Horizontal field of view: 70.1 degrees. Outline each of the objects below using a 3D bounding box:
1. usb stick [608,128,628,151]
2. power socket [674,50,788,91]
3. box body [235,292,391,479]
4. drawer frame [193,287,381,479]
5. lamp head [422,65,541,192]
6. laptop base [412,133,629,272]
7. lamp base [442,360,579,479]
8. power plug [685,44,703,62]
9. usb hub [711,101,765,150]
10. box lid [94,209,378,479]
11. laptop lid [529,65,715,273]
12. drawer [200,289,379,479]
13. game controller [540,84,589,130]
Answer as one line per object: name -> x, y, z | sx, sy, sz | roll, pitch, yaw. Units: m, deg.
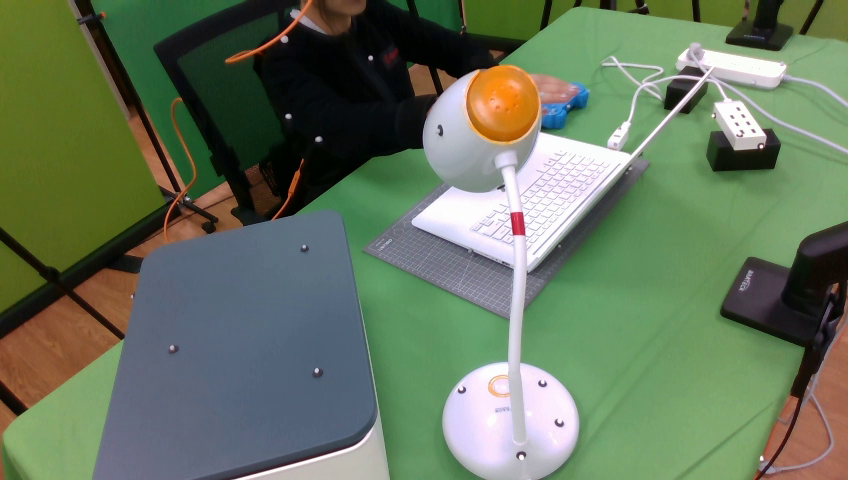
usb stick -> 0.353, -0.179, 1.110 | 0.021, 0.027, 0.059 | 21, 57, 31
power socket -> 0.646, -0.363, 1.284 | 0.225, 0.033, 0.072 | 25, 52, 34
box body -> -0.190, 0.161, 0.723 | 0.255, 0.161, 0.361 | -13, 40, -5
drawer frame -> -0.172, 0.176, 0.755 | 0.202, 0.083, 0.212 | -14, 42, -7
lamp head -> 0.060, -0.106, 0.560 | 0.113, 0.112, 0.122 | -17, 0, -8
laptop base -> 0.176, -0.083, 1.055 | 0.233, 0.023, 0.355 | 21, 48, 36
lamp base -> 0.094, 0.158, 0.657 | 0.161, 0.181, 0.178 | -14, 42, -5
power plug -> 0.568, -0.390, 1.294 | 0.073, 0.053, 0.035 | -33, 46, -22
usb hub -> 0.536, -0.198, 1.038 | 0.049, 0.025, 0.124 | -4, 39, 8
box lid -> -0.202, 0.094, 0.680 | 0.264, 0.015, 0.368 | -13, 39, -5
laptop lid -> 0.294, -0.104, 0.895 | 0.013, 0.241, 0.358 | 42, 56, 10
drawer -> -0.172, 0.176, 0.760 | 0.195, 0.073, 0.210 | -13, 42, -8
game controller -> 0.273, -0.282, 1.251 | 0.096, 0.052, 0.155 | 26, 52, 30
